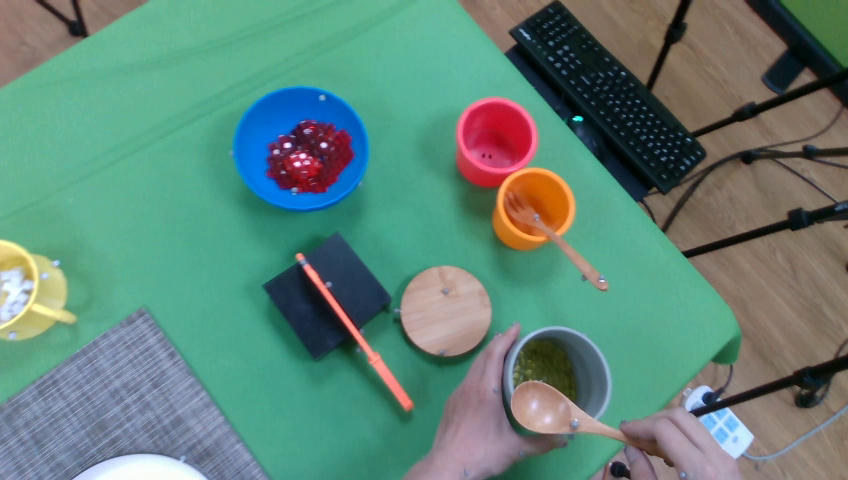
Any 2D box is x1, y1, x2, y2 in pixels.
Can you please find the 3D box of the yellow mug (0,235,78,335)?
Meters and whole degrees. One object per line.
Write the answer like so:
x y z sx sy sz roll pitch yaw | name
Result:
-0.439 0.056 0.656 0.131 0.064 0.099 23 74 -1 | yellow mug

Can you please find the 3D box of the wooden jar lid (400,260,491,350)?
0.025 0.078 0.721 0.108 0.021 0.108 1 78 -4 | wooden jar lid

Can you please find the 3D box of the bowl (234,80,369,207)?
-0.140 -0.102 0.719 0.151 0.077 0.150 1 76 -5 | bowl

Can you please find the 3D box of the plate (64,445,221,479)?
-0.291 0.317 0.617 0.209 0.038 0.208 2 76 -6 | plate

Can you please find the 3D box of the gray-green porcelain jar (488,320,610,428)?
0.129 0.147 0.659 0.106 0.127 0.105 1 75 -5 | gray-green porcelain jar

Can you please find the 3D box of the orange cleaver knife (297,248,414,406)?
-0.077 0.097 0.674 0.012 0.077 0.212 -36 106 -10 | orange cleaver knife

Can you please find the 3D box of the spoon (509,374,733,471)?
0.164 0.159 0.508 0.193 0.022 0.041 18 74 8 | spoon

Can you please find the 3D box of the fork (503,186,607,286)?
0.145 -0.010 0.687 0.028 0.019 0.205 -20 35 -12 | fork
